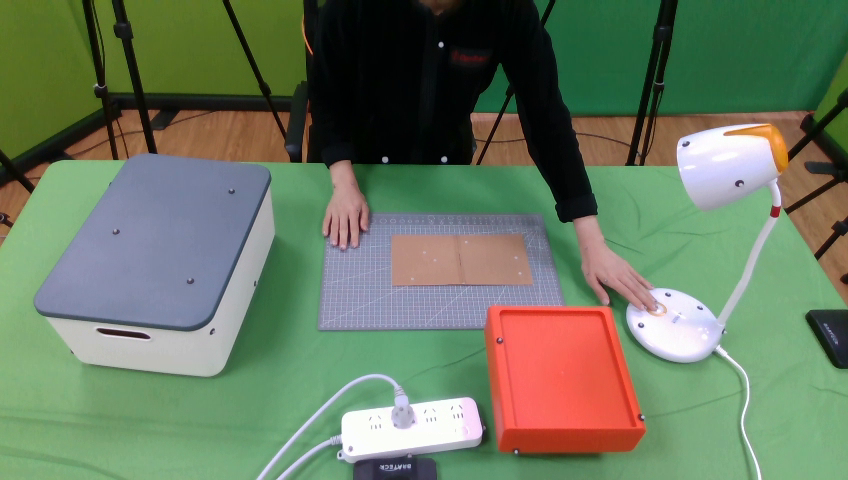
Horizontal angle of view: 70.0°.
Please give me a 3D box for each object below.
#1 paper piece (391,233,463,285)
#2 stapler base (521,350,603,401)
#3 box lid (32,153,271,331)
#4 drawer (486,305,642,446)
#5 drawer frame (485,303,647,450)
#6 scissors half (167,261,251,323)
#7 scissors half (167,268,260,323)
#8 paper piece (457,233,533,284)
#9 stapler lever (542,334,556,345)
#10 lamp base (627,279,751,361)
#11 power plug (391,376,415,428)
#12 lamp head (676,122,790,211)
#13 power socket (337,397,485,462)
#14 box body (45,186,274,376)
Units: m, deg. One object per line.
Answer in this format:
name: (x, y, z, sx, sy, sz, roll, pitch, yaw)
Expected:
paper piece: (0.004, 0.035, 1.170, 0.135, 0.004, 0.135, 1, 46, -4)
stapler base: (0.217, 0.203, 0.942, 0.130, 0.024, 0.041, 26, 33, 16)
box lid: (-0.417, -0.015, 0.980, 0.263, 0.015, 0.369, 6, 46, 1)
drawer: (0.202, 0.200, 0.919, 0.195, 0.073, 0.210, 2, 47, -4)
drawer frame: (0.204, 0.202, 0.917, 0.202, 0.083, 0.212, 1, 47, -4)
scissors half: (-0.383, 0.091, 1.081, 0.040, 0.013, 0.175, 24, 51, 32)
scissors half: (-0.369, 0.101, 1.069, 0.175, 0.013, 0.040, -29, 50, -21)
paper piece: (0.136, 0.035, 1.182, 0.136, 0.009, 0.137, 2, 45, -6)
stapler lever: (0.225, 0.181, 0.929, 0.118, 0.040, 0.027, 27, 34, 15)
lamp base: (0.460, 0.100, 1.027, 0.178, 0.181, 0.160, 27, 51, 17)
power plug: (-0.030, 0.249, 0.917, 0.035, 0.053, 0.072, 3, 46, 0)
lamp head: (0.423, -0.104, 0.819, 0.122, 0.113, 0.112, -13, 33, 40)
power socket: (-0.018, 0.285, 0.915, 0.227, 0.033, 0.071, -4, 46, -8)
box body: (-0.421, 0.037, 1.031, 0.254, 0.161, 0.362, 5, 46, 1)
